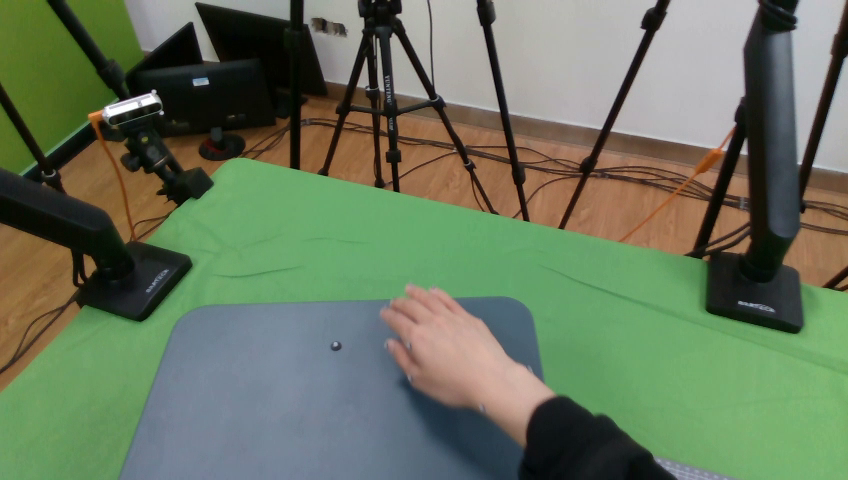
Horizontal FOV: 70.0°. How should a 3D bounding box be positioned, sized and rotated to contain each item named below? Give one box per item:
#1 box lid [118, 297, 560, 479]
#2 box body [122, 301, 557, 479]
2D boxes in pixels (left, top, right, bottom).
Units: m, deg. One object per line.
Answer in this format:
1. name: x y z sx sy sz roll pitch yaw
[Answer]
1. box lid: -0.069 0.157 0.546 0.371 0.015 0.260 -1 45 0
2. box body: -0.068 0.210 0.599 0.364 0.162 0.251 -2 45 1
